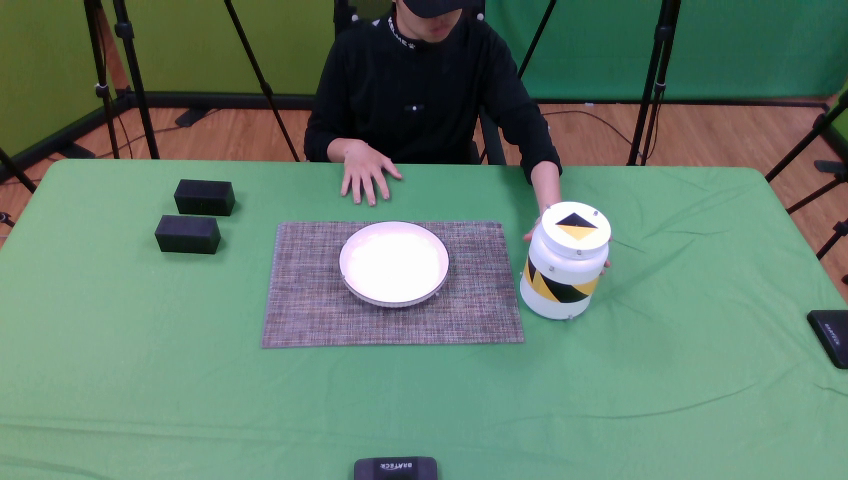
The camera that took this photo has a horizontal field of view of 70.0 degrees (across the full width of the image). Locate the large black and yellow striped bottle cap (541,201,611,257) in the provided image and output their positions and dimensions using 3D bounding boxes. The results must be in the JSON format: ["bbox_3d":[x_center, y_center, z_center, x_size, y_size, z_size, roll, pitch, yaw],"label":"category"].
[{"bbox_3d":[0.252,-0.021,1.004,0.115,0.019,0.114,1,47,-1],"label":"large black and yellow striped bottle cap"}]

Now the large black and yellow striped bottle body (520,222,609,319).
[{"bbox_3d":[0.247,0.038,1.065,0.131,0.185,0.130,2,46,-2],"label":"large black and yellow striped bottle body"}]

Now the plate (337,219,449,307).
[{"bbox_3d":[-0.057,0.045,1.133,0.208,0.039,0.206,2,46,-2],"label":"plate"}]
